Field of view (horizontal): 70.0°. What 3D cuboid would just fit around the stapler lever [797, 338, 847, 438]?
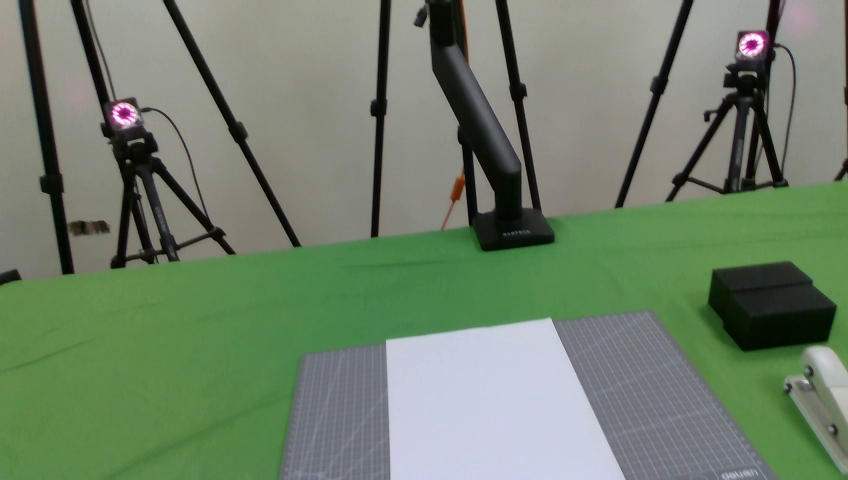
[{"bbox_3d":[0.391,0.140,0.571,0.027,0.040,0.117,-5,30,7],"label":"stapler lever"}]

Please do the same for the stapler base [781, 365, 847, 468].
[{"bbox_3d":[0.393,0.161,0.585,0.041,0.024,0.129,-5,30,7],"label":"stapler base"}]
